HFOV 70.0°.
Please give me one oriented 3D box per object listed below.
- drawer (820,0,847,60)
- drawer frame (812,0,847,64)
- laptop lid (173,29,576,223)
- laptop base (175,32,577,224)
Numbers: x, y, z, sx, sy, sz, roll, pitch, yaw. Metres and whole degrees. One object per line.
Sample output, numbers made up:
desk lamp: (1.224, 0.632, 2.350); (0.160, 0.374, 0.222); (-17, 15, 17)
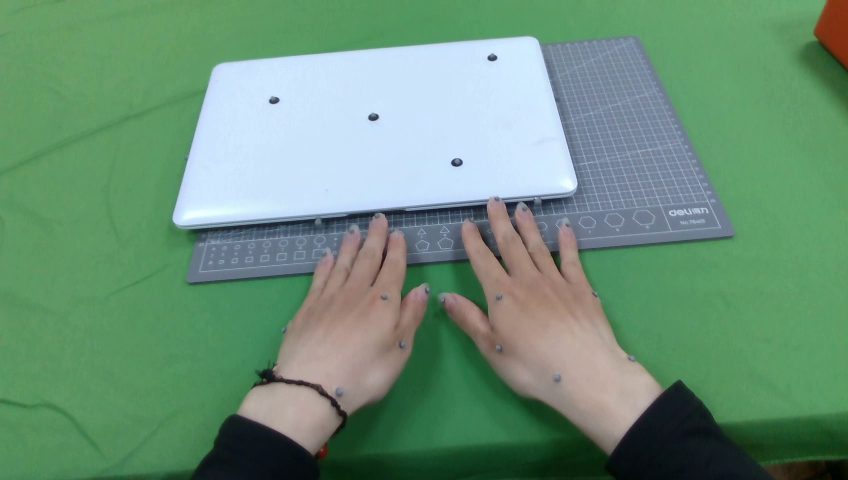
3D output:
drawer: (0.524, -0.181, 0.563); (0.194, 0.074, 0.209); (-9, 50, -1)
drawer frame: (0.523, -0.183, 0.564); (0.202, 0.083, 0.211); (-9, 50, -2)
laptop lid: (-0.049, -0.121, 0.585); (0.357, 0.013, 0.239); (-4, 53, 2)
laptop base: (-0.048, -0.115, 0.596); (0.354, 0.023, 0.233); (-5, 54, 1)
